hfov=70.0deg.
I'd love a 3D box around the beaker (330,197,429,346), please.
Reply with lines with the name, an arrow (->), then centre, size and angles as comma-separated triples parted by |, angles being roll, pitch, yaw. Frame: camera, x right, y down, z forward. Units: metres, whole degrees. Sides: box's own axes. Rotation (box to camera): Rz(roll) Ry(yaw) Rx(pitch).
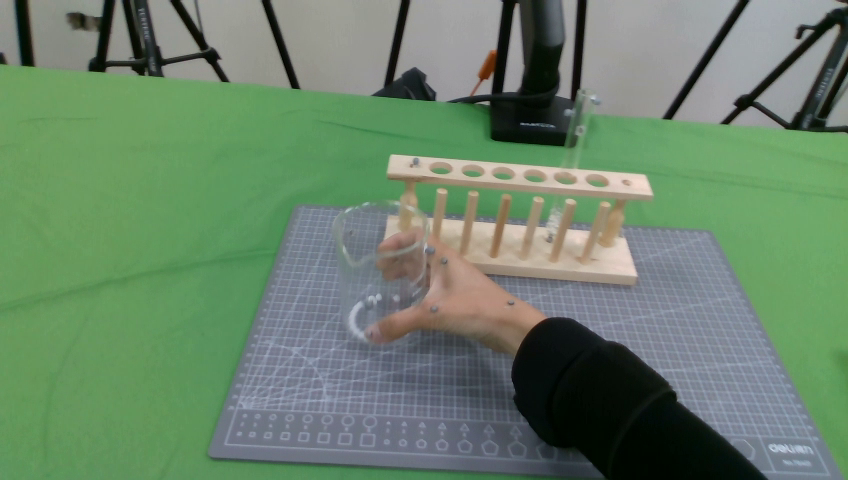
beaker -> -0.036, 0.029, 0.482 | 0.073, 0.101, 0.083 | 14, 38, 18

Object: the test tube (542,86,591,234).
test tube -> 0.130, -0.068, 0.560 | 0.017, 0.151, 0.017 | 3, 35, -2

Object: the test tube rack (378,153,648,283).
test tube rack -> 0.081, -0.021, 0.575 | 0.242, 0.086, 0.066 | 5, 40, 0
